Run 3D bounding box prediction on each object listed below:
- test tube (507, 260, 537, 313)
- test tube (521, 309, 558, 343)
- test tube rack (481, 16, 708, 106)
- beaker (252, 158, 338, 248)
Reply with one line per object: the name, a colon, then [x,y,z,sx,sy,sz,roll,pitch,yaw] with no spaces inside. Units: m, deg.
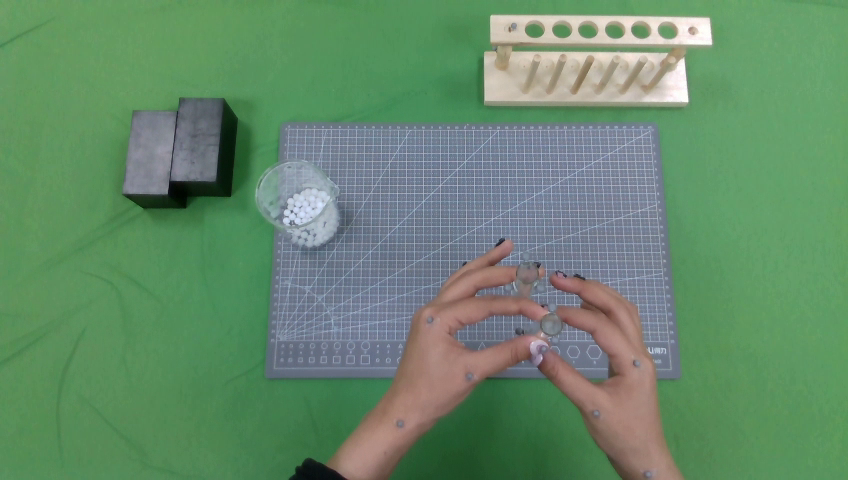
test tube: [0.074,0.039,0.465,0.017,0.151,0.017,-1,75,6]
test tube: [0.087,0.069,0.471,0.017,0.151,0.017,-1,78,5]
test tube rack: [0.191,-0.206,0.702,0.242,0.085,0.066,1,76,0]
beaker: [-0.130,-0.036,0.650,0.084,0.100,0.073,-7,77,-2]
